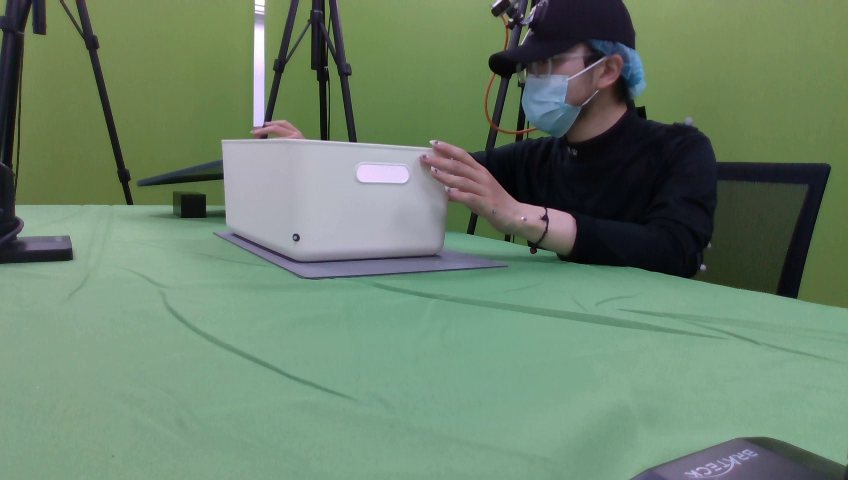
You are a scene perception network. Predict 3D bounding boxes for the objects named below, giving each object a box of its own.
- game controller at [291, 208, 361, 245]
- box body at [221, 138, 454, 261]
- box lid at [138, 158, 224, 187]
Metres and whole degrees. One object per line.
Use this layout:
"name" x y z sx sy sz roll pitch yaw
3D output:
"game controller" -0.161 -0.023 0.967 0.097 0.051 0.154 -5 9 -15
"box body" -0.152 -0.074 0.963 0.255 0.160 0.362 -3 9 -33
"box lid" -0.435 -0.164 1.397 0.262 0.015 0.372 -11 5 23
